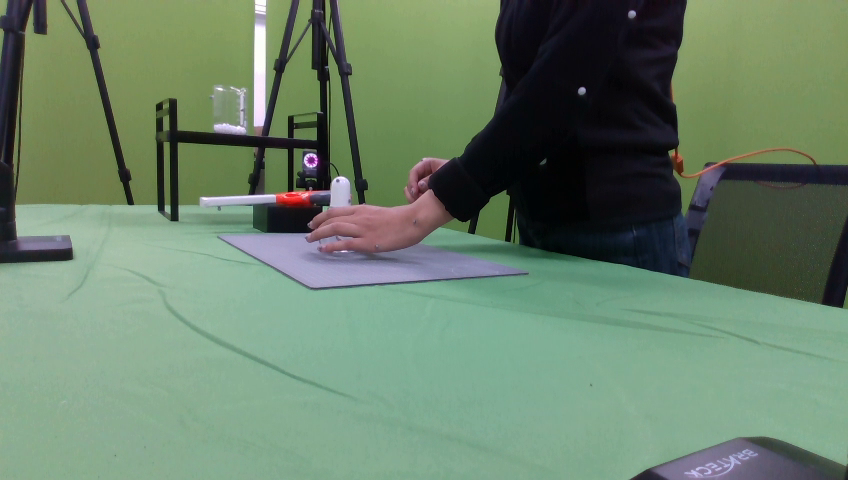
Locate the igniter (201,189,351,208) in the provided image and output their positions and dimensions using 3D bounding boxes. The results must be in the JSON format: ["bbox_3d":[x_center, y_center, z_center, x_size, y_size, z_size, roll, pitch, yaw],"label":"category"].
[{"bbox_3d":[-0.272,-0.078,1.138,0.278,0.025,0.057,-5,11,-28],"label":"igniter"}]

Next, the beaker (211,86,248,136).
[{"bbox_3d":[-0.413,-0.274,1.297,0.074,0.100,0.083,-5,11,-44],"label":"beaker"}]

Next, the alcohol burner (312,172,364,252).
[{"bbox_3d":[-0.128,-0.042,0.905,0.078,0.119,0.078,1,5,0],"label":"alcohol burner"}]

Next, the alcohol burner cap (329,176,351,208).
[{"bbox_3d":[-0.126,-0.072,0.900,0.034,0.048,0.034,0,5,0],"label":"alcohol burner cap"}]
